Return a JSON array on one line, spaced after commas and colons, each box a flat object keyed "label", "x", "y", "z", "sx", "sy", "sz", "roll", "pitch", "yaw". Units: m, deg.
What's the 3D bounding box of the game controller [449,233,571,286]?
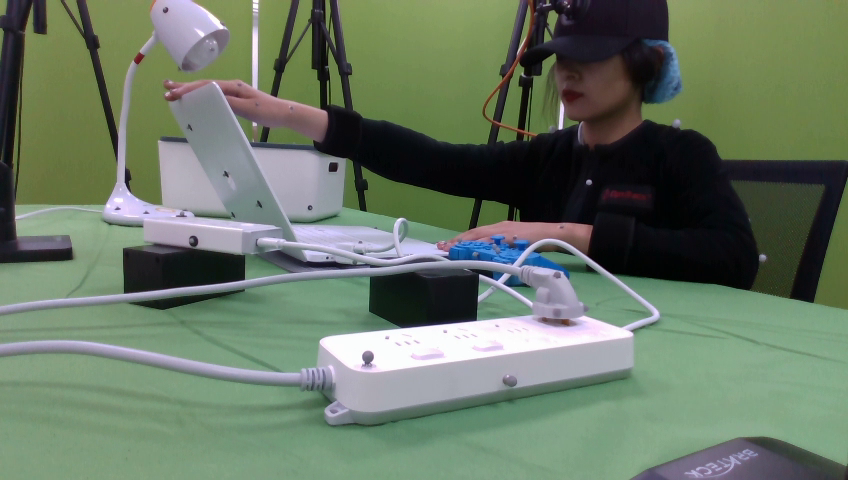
[{"label": "game controller", "x": 0.101, "y": 0.021, "z": 0.760, "sx": 0.097, "sy": 0.051, "sz": 0.154, "roll": -7, "pitch": 10, "yaw": -30}]

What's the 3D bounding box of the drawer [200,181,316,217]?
[{"label": "drawer", "x": -0.372, "y": -0.097, "z": 1.393, "sx": 0.212, "sy": 0.073, "sz": 0.194, "roll": 1, "pitch": 9, "yaw": 6}]

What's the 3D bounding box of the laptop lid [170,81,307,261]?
[{"label": "laptop lid", "x": -0.272, "y": -0.094, "z": 0.845, "sx": 0.013, "sy": 0.242, "sz": 0.355, "roll": -32, "pitch": 23, "yaw": -23}]

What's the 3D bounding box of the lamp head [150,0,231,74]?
[{"label": "lamp head", "x": -0.432, "y": -0.374, "z": 1.086, "sx": 0.123, "sy": 0.112, "sz": 0.112, "roll": 42, "pitch": 8, "yaw": -2}]

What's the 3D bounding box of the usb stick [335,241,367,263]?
[{"label": "usb stick", "x": -0.093, "y": 0.015, "z": 0.742, "sx": 0.021, "sy": 0.027, "sz": 0.059, "roll": -4, "pitch": 1, "yaw": -34}]

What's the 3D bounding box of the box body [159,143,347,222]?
[{"label": "box body", "x": -0.384, "y": -0.137, "z": 1.406, "sx": 0.364, "sy": 0.160, "sz": 0.254, "roll": 3, "pitch": 8, "yaw": 7}]

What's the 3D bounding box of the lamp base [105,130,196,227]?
[{"label": "lamp base", "x": -0.532, "y": -0.120, "z": 1.153, "sx": 0.179, "sy": 0.180, "sz": 0.161, "roll": 1, "pitch": 7, "yaw": 8}]

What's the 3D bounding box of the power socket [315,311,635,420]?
[{"label": "power socket", "x": 0.039, "y": 0.072, "z": 0.385, "sx": 0.228, "sy": 0.032, "sz": 0.072, "roll": -2, "pitch": 7, "yaw": -29}]

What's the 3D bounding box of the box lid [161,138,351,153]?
[{"label": "box lid", "x": -0.371, "y": -0.215, "z": 1.394, "sx": 0.371, "sy": 0.015, "sz": 0.263, "roll": 4, "pitch": 8, "yaw": 7}]

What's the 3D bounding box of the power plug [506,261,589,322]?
[{"label": "power plug", "x": 0.091, "y": 0.043, "z": 0.444, "sx": 0.035, "sy": 0.052, "sz": 0.072, "roll": -1, "pitch": 5, "yaw": -18}]

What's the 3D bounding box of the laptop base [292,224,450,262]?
[{"label": "laptop base", "x": -0.127, "y": 0.002, "z": 0.946, "sx": 0.237, "sy": 0.023, "sz": 0.352, "roll": 2, "pitch": 6, "yaw": -31}]

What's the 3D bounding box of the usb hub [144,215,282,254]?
[{"label": "usb hub", "x": -0.200, "y": -0.006, "z": 0.573, "sx": 0.125, "sy": 0.025, "sz": 0.050, "roll": 6, "pitch": 7, "yaw": 22}]
